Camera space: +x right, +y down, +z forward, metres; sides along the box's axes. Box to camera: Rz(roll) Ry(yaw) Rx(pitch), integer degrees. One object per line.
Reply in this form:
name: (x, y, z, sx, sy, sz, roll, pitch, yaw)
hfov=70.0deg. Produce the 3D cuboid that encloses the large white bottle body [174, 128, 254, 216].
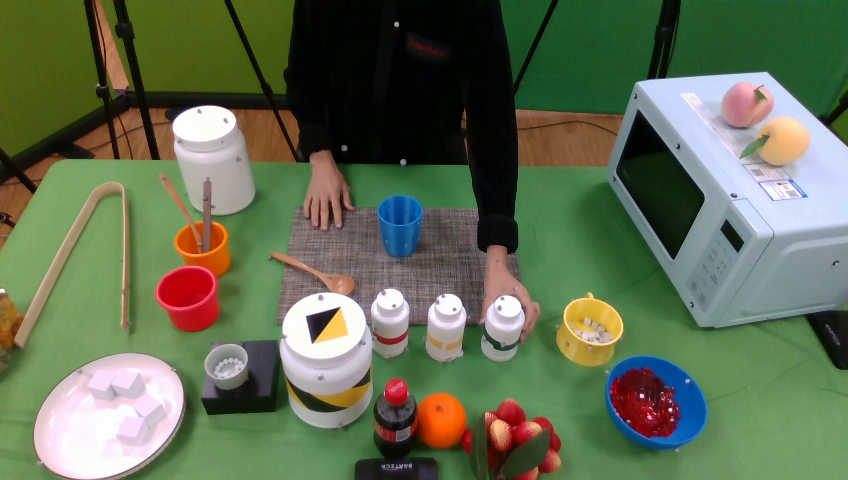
large white bottle body: (-0.416, -0.154, 1.199, 0.131, 0.185, 0.130, 2, 46, -2)

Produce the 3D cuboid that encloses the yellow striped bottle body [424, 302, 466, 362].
yellow striped bottle body: (0.035, 0.143, 0.995, 0.063, 0.121, 0.062, 3, 46, -2)

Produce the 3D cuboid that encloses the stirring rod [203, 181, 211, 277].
stirring rod: (-0.396, -0.021, 1.107, 0.014, 0.006, 0.176, -1, 89, -2)

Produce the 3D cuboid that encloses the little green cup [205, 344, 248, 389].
little green cup: (-0.294, 0.191, 0.909, 0.061, 0.039, 0.061, 1, 47, -1)

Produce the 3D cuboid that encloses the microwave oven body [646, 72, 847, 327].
microwave oven body: (0.607, -0.089, 1.163, 0.326, 0.261, 0.438, -7, 46, -10)

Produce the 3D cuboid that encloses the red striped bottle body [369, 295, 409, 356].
red striped bottle body: (-0.059, 0.134, 0.997, 0.063, 0.120, 0.062, 5, 47, -5)

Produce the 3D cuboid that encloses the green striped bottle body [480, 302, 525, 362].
green striped bottle body: (0.130, 0.145, 1.001, 0.063, 0.120, 0.063, 2, 47, -2)

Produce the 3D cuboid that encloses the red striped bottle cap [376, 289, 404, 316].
red striped bottle cap: (-0.055, 0.098, 0.958, 0.044, 0.018, 0.044, 0, 48, 0)

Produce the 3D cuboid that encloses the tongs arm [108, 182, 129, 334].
tongs arm: (-0.571, 0.019, 1.123, 0.051, 0.026, 0.382, -11, 47, -12)

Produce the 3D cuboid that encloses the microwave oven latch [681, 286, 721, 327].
microwave oven latch: (0.494, 0.119, 1.086, 0.030, 0.029, 0.078, -5, 46, -9)

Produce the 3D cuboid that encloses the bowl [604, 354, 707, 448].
bowl: (0.346, 0.261, 0.937, 0.151, 0.077, 0.150, 2, 46, -2)

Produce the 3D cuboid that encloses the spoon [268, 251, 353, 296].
spoon: (-0.212, 0.057, 1.121, 0.193, 0.022, 0.041, 24, 74, 18)

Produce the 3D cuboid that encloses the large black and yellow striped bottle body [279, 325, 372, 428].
large black and yellow striped bottle body: (-0.143, 0.181, 0.900, 0.131, 0.185, 0.130, 2, 46, -2)

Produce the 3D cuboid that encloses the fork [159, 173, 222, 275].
fork: (-0.427, -0.029, 1.103, 0.028, 0.018, 0.207, -31, 99, -30)

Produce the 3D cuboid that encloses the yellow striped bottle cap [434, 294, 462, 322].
yellow striped bottle cap: (0.038, 0.107, 0.958, 0.044, 0.019, 0.044, 2, 45, -2)

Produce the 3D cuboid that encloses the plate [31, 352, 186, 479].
plate: (-0.459, 0.262, 0.898, 0.209, 0.038, 0.208, 2, 46, -2)

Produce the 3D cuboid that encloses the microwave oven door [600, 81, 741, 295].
microwave oven door: (0.454, -0.107, 1.161, 0.039, 0.245, 0.353, -6, 47, -11)

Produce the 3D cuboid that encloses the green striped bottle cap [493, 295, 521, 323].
green striped bottle cap: (0.133, 0.110, 0.962, 0.044, 0.020, 0.044, 1, 48, -1)

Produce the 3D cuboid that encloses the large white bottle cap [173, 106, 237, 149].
large white bottle cap: (-0.411, -0.212, 1.138, 0.115, 0.018, 0.114, 2, 46, -2)

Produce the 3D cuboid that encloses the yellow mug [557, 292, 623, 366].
yellow mug: (0.286, 0.145, 1.051, 0.100, 0.064, 0.130, 7, 45, 4)

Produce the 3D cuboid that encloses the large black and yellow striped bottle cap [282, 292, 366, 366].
large black and yellow striped bottle cap: (-0.138, 0.121, 0.841, 0.115, 0.019, 0.114, 3, 47, -3)

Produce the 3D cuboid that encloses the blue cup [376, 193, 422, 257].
blue cup: (-0.047, -0.022, 1.155, 0.093, 0.101, 0.092, 1, 47, -1)

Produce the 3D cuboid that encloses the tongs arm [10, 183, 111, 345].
tongs arm: (-0.658, 0.027, 1.109, 0.028, 0.028, 0.385, -2, 45, 2)
